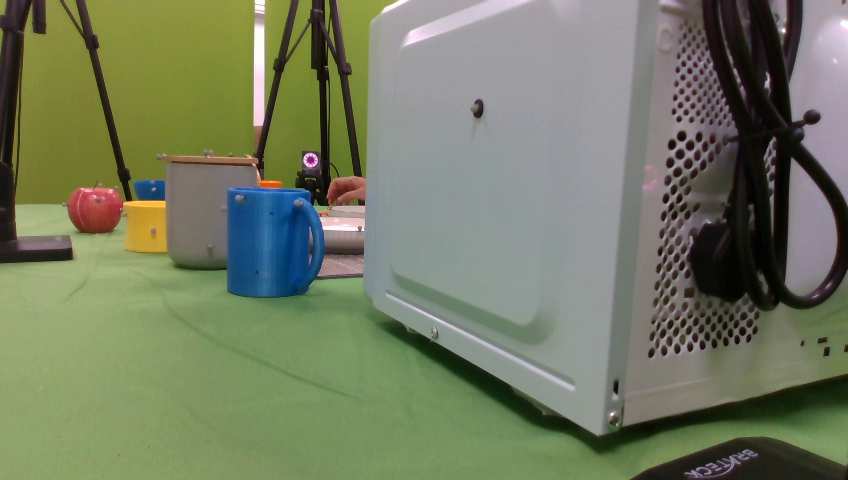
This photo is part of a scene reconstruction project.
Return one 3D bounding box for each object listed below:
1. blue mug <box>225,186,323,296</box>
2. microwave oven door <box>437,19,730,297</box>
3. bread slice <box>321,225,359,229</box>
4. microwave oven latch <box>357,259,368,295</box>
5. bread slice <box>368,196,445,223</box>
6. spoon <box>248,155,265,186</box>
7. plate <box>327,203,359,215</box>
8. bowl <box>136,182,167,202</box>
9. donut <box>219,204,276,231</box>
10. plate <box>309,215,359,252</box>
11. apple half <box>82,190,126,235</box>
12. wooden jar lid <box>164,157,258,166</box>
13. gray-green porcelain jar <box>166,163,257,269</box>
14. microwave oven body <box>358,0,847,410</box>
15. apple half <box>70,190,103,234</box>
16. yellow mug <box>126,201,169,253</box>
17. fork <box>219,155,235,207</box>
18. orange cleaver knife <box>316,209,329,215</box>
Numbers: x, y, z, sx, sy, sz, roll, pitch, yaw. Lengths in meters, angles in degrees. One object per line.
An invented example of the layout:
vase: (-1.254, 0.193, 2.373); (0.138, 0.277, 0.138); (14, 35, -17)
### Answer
blue mug: (-0.148, 0.000, 0.618); (0.116, 0.106, 0.083); (7, 9, 33)
microwave oven door: (0.181, -0.076, 0.618); (0.358, 0.243, 0.039); (-2, 9, -28)
bread slice: (-0.125, -0.008, 0.938); (0.131, 0.019, 0.105); (5, 9, 32)
microwave oven latch: (-0.019, 0.031, 0.529); (0.079, 0.029, 0.030); (-1, 7, -26)
bread slice: (-0.040, -0.057, 1.142); (0.107, 0.018, 0.133); (-8, -8, -40)
spoon: (-0.417, -0.150, 1.543); (0.042, 0.193, 0.021); (-6, -34, -32)
plate: (-0.102, -0.053, 1.299); (0.209, 0.038, 0.209); (2, 8, 0)
bowl: (-0.497, -0.076, 1.221); (0.151, 0.077, 0.151); (2, 8, 0)
donut: (-0.316, -0.039, 1.083); (0.099, 0.048, 0.099); (2, 7, 0)
plate: (-0.130, -0.011, 0.945); (0.208, 0.039, 0.207); (2, 8, 0)
apple half: (-0.516, -0.046, 0.994); (0.032, 0.081, 0.081); (0, 6, 26)
wooden jar lid: (-0.261, -0.093, 0.746); (0.108, 0.020, 0.108); (0, 9, 0)
gray-green porcelain jar: (-0.263, -0.031, 0.754); (0.106, 0.126, 0.106); (2, 7, 0)
microwave oven body: (0.210, -0.051, 0.471); (0.444, 0.260, 0.324); (-1, 7, -28)
apple half: (-0.552, -0.047, 1.010); (0.053, 0.074, 0.081); (0, 10, 26)
yellow mug: (-0.361, -0.019, 0.866); (0.130, 0.064, 0.100); (7, 9, 27)
fork: (-0.459, -0.134, 1.415); (0.028, 0.018, 0.207); (-1, -34, -24)
orange cleaver knife: (-0.259, -0.064, 1.423); (0.212, 0.012, 0.077); (-4, 2, -30)
